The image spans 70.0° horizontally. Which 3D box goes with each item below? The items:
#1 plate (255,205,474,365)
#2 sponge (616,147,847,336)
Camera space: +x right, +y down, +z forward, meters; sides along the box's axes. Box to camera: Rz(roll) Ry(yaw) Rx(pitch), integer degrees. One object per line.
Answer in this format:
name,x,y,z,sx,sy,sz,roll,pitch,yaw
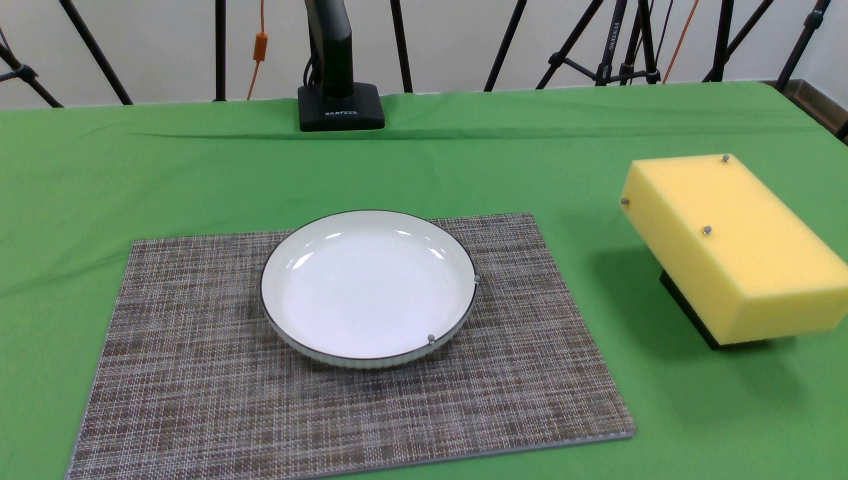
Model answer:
plate,-0.056,0.043,0.593,0.208,0.039,0.205,3,41,-2
sponge,0.291,-0.008,0.590,0.118,0.061,0.204,-6,42,-11
